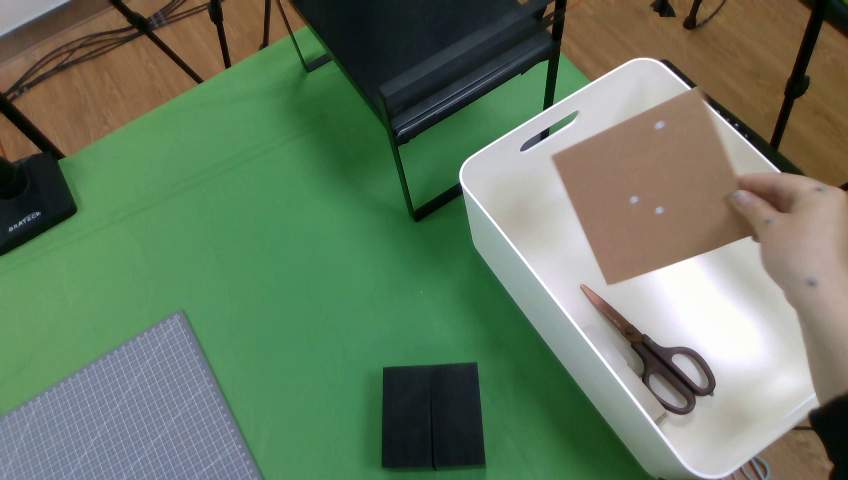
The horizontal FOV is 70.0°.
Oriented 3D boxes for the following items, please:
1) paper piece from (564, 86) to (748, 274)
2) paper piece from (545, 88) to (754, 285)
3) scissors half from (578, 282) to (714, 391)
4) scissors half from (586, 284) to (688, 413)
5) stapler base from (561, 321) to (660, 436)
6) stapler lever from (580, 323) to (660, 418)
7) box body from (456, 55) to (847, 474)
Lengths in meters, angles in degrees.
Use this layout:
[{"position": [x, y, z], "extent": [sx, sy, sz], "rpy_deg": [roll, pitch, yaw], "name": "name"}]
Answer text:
[{"position": [0.205, -0.050, 0.558], "extent": [0.009, 0.136, 0.138], "rpy_deg": [-13, 82, -45], "name": "paper piece"}, {"position": [0.196, -0.043, 0.540], "extent": [0.135, 0.004, 0.135], "rpy_deg": [-25, 89, 27], "name": "paper piece"}, {"position": [0.241, 0.100, 0.668], "extent": [0.174, 0.013, 0.040], "rpy_deg": [38, 67, 24], "name": "scissors half"}, {"position": [0.223, 0.112, 0.663], "extent": [0.040, 0.013, 0.173], "rpy_deg": [-25, 60, -6], "name": "scissors half"}, {"position": [0.199, 0.145, 0.649], "extent": [0.041, 0.024, 0.130], "rpy_deg": [-34, 76, -5], "name": "stapler base"}, {"position": [0.199, 0.138, 0.624], "extent": [0.027, 0.040, 0.117], "rpy_deg": [-34, 76, -5], "name": "stapler lever"}, {"position": [0.233, 0.024, 0.626], "extent": [0.254, 0.162, 0.361], "rpy_deg": [-32, 66, -9], "name": "box body"}]
